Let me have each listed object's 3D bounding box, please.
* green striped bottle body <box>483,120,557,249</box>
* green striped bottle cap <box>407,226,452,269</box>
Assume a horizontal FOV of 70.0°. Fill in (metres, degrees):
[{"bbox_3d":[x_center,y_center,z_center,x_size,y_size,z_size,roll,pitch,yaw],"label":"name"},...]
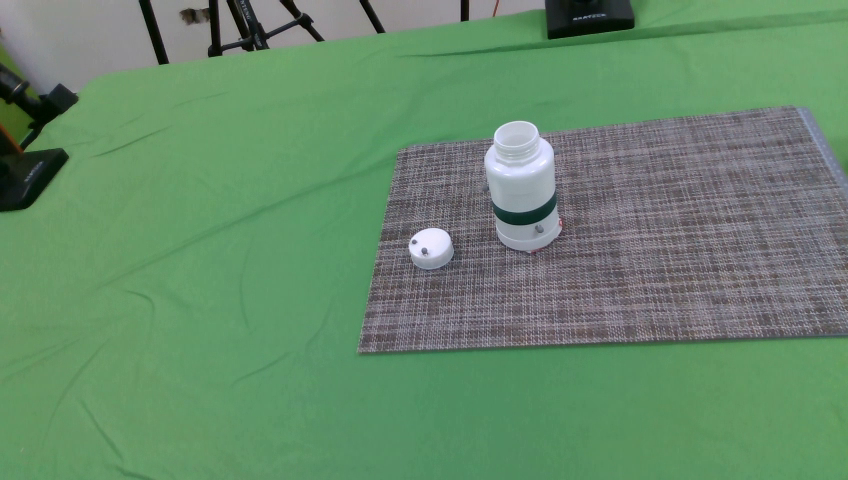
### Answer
[{"bbox_3d":[0.091,-0.053,0.568,0.063,0.120,0.062,-8,45,9],"label":"green striped bottle body"},{"bbox_3d":[0.006,0.007,0.610,0.044,0.020,0.044,-6,45,6],"label":"green striped bottle cap"}]
